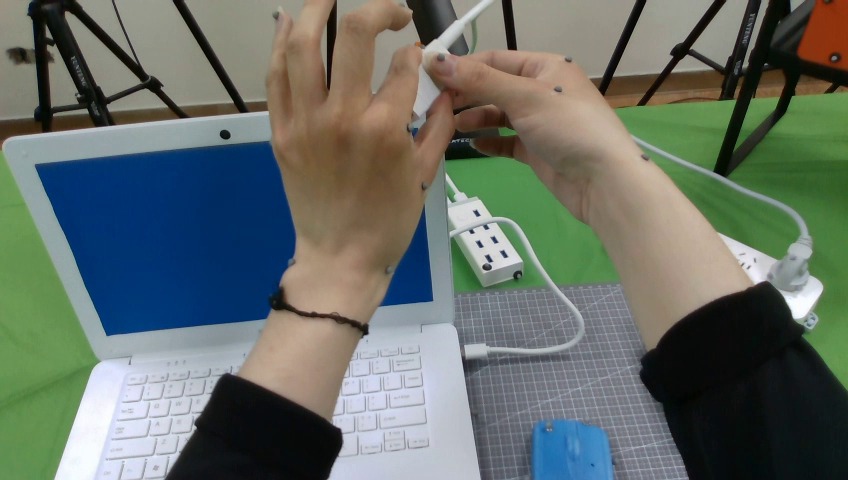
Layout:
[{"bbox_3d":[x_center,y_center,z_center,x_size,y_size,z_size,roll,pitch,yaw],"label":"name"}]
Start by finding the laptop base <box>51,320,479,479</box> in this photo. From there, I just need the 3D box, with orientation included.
[{"bbox_3d":[-0.134,0.181,0.517,0.354,0.023,0.233,-6,47,-2],"label":"laptop base"}]

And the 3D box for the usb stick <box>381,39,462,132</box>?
[{"bbox_3d":[-0.006,-0.092,0.369,0.059,0.027,0.021,-53,19,-13],"label":"usb stick"}]

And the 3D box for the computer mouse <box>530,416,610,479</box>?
[{"bbox_3d":[0.114,0.188,0.476,0.062,0.041,0.116,3,39,11],"label":"computer mouse"}]

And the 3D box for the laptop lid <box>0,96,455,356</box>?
[{"bbox_3d":[-0.153,-0.002,0.541,0.357,0.243,0.013,-7,31,-1],"label":"laptop lid"}]

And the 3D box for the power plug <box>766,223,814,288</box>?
[{"bbox_3d":[0.375,0.023,0.607,0.072,0.053,0.035,-29,48,-22],"label":"power plug"}]

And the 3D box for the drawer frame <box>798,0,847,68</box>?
[{"bbox_3d":[0.516,-0.233,0.603,0.200,0.083,0.213,26,50,28],"label":"drawer frame"}]

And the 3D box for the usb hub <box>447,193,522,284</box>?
[{"bbox_3d":[0.063,-0.004,0.694,0.049,0.025,0.123,-16,45,-12],"label":"usb hub"}]

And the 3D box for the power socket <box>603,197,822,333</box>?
[{"bbox_3d":[0.304,0.021,0.647,0.224,0.033,0.072,33,54,33],"label":"power socket"}]

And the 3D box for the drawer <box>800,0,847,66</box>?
[{"bbox_3d":[0.515,-0.230,0.602,0.193,0.074,0.211,27,50,29],"label":"drawer"}]
